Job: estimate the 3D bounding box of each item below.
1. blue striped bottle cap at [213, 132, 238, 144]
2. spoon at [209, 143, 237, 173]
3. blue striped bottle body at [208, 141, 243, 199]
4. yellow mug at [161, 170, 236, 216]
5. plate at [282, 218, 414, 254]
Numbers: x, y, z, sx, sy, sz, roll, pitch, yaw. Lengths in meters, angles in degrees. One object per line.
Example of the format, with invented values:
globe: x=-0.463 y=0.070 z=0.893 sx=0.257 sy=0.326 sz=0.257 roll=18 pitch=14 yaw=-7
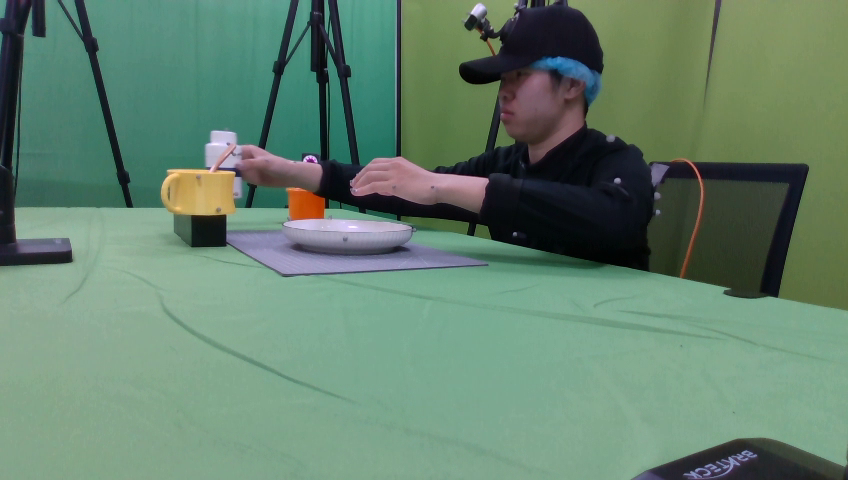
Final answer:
blue striped bottle cap: x=-0.370 y=-0.189 z=1.125 sx=0.044 sy=0.020 sz=0.044 roll=3 pitch=8 yaw=0
spoon: x=-0.341 y=-0.113 z=0.990 sx=0.041 sy=0.021 sz=0.193 roll=1 pitch=40 yaw=6
blue striped bottle body: x=-0.371 y=-0.138 z=1.129 sx=0.063 sy=0.120 sz=0.063 roll=2 pitch=5 yaw=0
yellow mug: x=-0.354 y=-0.074 z=0.935 sx=0.099 sy=0.064 sz=0.131 roll=5 pitch=9 yaw=21
plate: x=-0.121 y=-0.007 z=0.971 sx=0.208 sy=0.039 sz=0.207 roll=2 pitch=7 yaw=0
